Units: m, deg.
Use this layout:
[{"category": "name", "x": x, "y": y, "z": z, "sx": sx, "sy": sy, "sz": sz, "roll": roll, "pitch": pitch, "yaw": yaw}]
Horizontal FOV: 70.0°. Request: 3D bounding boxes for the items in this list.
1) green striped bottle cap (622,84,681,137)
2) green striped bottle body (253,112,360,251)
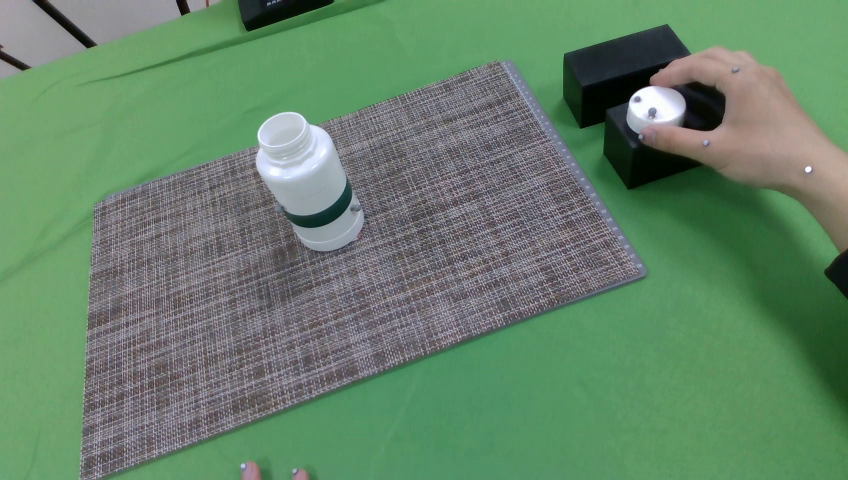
[{"category": "green striped bottle cap", "x": 0.183, "y": -0.105, "z": 0.489, "sx": 0.044, "sy": 0.020, "sz": 0.044, "roll": -5, "pitch": 55, "yaw": 7}, {"category": "green striped bottle body", "x": -0.098, "y": -0.048, "z": 0.504, "sx": 0.063, "sy": 0.120, "sz": 0.062, "roll": -6, "pitch": 53, "yaw": 9}]
